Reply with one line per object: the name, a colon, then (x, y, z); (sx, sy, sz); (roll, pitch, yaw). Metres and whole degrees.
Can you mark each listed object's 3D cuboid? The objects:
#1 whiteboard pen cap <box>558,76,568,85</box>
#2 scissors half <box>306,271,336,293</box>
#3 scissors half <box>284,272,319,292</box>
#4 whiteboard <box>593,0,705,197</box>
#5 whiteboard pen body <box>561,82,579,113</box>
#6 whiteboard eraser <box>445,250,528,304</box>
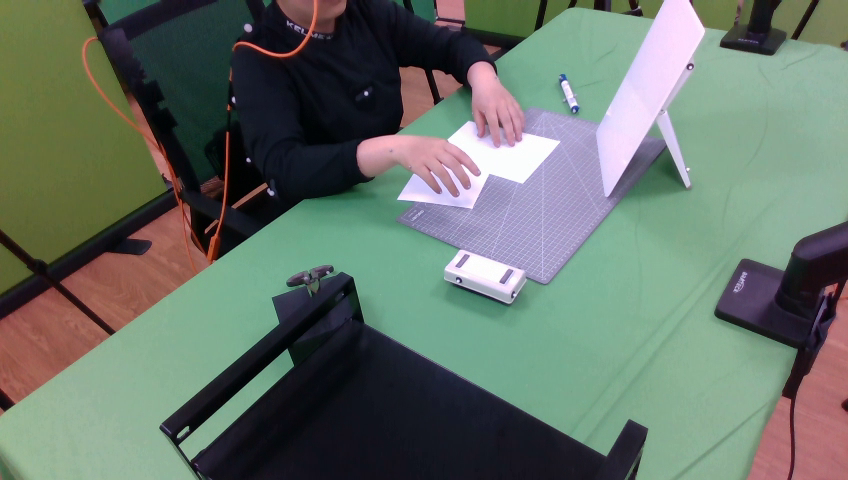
whiteboard pen cap: (0.310, -0.350, 1.340); (0.018, 0.018, 0.033); (-6, 41, 2)
scissors half: (-0.152, 0.061, 0.872); (0.040, 0.013, 0.175); (-3, 5, -4)
scissors half: (-0.172, 0.063, 0.868); (0.040, 0.013, 0.174); (-11, 7, -22)
whiteboard: (0.421, -0.227, 1.009); (0.144, 0.305, 0.216); (17, 41, -3)
whiteboard pen body: (0.310, -0.311, 1.297); (0.017, 0.017, 0.140); (-6, 41, 2)
whiteboard eraser: (0.090, 0.056, 0.882); (0.112, 0.042, 0.056); (18, 44, 27)
